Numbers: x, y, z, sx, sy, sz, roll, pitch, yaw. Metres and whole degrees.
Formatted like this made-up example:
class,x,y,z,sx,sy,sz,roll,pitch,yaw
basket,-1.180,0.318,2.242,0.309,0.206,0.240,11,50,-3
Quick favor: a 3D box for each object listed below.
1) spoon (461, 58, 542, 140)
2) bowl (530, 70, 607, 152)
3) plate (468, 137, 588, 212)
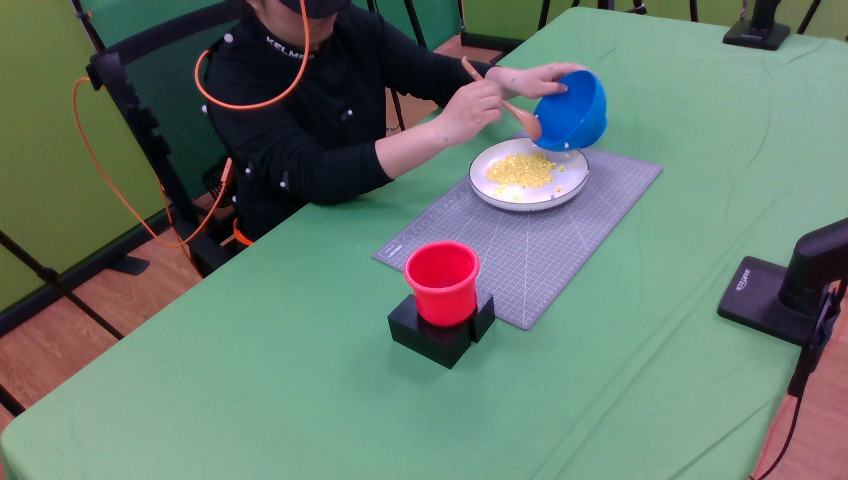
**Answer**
class,x,y,z,sx,sy,sz,roll,pitch,yaw
spoon,0.132,-0.238,1.025,0.021,0.194,0.041,-30,27,56
bowl,0.266,-0.211,1.058,0.151,0.077,0.150,-37,38,36
plate,0.182,-0.112,1.064,0.207,0.039,0.206,-5,40,5
